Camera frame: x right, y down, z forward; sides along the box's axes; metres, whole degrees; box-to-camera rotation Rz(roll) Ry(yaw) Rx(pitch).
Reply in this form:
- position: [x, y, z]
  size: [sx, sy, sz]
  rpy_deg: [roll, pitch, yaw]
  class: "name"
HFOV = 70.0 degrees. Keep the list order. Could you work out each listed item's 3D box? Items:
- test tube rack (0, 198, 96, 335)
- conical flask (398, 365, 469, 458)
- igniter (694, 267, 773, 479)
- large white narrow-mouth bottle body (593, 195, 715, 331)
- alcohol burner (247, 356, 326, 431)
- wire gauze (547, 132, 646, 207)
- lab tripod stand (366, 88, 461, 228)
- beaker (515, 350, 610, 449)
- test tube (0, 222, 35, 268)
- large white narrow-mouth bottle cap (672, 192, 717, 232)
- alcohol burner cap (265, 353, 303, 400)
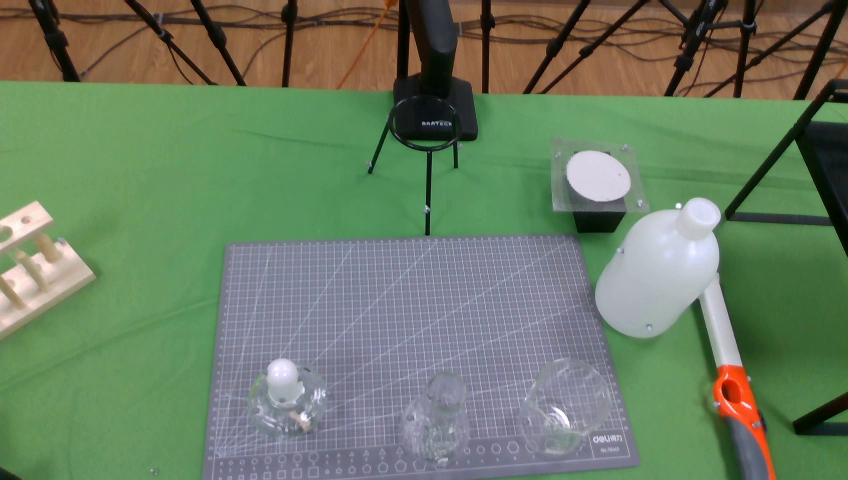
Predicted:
- position: [-0.484, 0.065, 0.627]
  size: [0.066, 0.086, 0.242]
  rpy_deg: [41, 62, 19]
  class: "test tube rack"
- position: [0.014, 0.163, 0.596]
  size: [0.075, 0.123, 0.074]
  rpy_deg: [3, 56, -4]
  class: "conical flask"
- position: [0.352, 0.150, 0.703]
  size: [0.057, 0.025, 0.274]
  rpy_deg: [10, 56, -12]
  class: "igniter"
- position: [0.263, 0.020, 0.677]
  size: [0.102, 0.196, 0.101]
  rpy_deg: [3, 57, -4]
  class: "large white narrow-mouth bottle body"
- position: [-0.136, 0.144, 0.596]
  size: [0.078, 0.120, 0.077]
  rpy_deg: [4, 55, -6]
  class: "alcohol burner"
- position: [0.224, -0.092, 0.798]
  size: [0.121, 0.011, 0.124]
  rpy_deg: [5, 56, -3]
  class: "wire gauze"
- position: [-0.004, -0.109, 0.767]
  size: [0.148, 0.132, 0.147]
  rpy_deg: [4, 58, -6]
  class: "lab tripod stand"
- position: [0.134, 0.168, 0.620]
  size: [0.084, 0.101, 0.073]
  rpy_deg: [-4, 57, -8]
  class: "beaker"
- position: [-0.445, -0.015, 0.624]
  size: [0.017, 0.151, 0.017]
  rpy_deg: [1, 55, -1]
  class: "test tube"
- position: [0.270, -0.028, 0.606]
  size: [0.038, 0.024, 0.037]
  rpy_deg: [3, 57, -4]
  class: "large white narrow-mouth bottle cap"
- position: [-0.132, 0.125, 0.565]
  size: [0.034, 0.048, 0.033]
  rpy_deg: [2, 51, -2]
  class: "alcohol burner cap"
